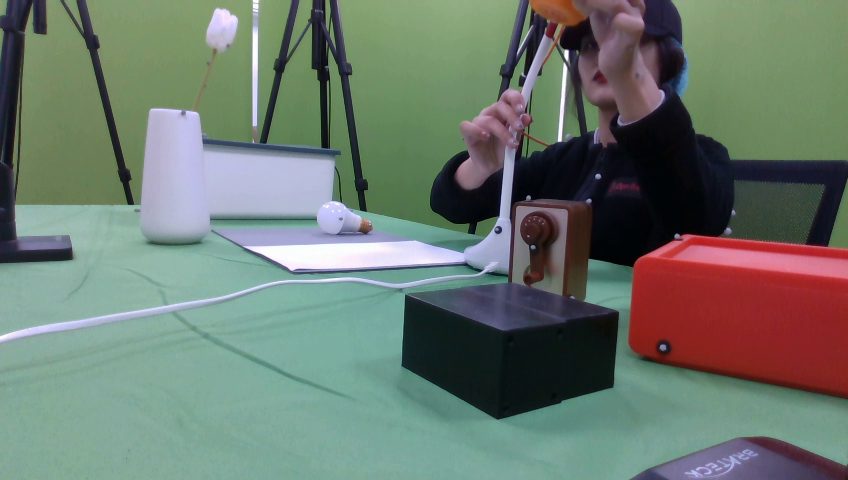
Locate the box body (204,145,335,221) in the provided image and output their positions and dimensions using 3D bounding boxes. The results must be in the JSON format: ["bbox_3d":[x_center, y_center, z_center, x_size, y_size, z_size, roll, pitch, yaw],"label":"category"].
[{"bbox_3d":[-0.411,-0.135,1.386,0.366,0.160,0.253,-2,9,-29],"label":"box body"}]

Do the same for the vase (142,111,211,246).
[{"bbox_3d":[-0.378,-0.093,0.920,0.098,0.200,0.098,2,9,0],"label":"vase"}]

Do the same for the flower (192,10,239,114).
[{"bbox_3d":[-0.353,-0.174,0.916,0.038,0.361,0.044,17,-3,12],"label":"flower"}]

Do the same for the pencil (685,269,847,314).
[{"bbox_3d":[0.308,0.045,0.516,0.194,0.012,0.012,13,5,-11],"label":"pencil"}]

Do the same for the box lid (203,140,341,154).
[{"bbox_3d":[-0.396,-0.212,1.373,0.373,0.015,0.262,-1,9,-29],"label":"box lid"}]

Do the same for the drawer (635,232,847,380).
[{"bbox_3d":[0.292,0.045,0.488,0.193,0.073,0.213,7,10,30],"label":"drawer"}]

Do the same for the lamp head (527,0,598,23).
[{"bbox_3d":[0.157,-0.297,0.645,0.112,0.123,0.112,20,12,-4],"label":"lamp head"}]

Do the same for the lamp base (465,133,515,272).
[{"bbox_3d":[0.134,-0.052,0.809,0.160,0.180,0.180,7,11,26],"label":"lamp base"}]

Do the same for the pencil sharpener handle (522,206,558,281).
[{"bbox_3d":[0.102,0.003,0.555,0.036,0.067,0.031,0,5,31],"label":"pencil sharpener handle"}]

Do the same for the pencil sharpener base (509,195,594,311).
[{"bbox_3d":[0.126,0.011,0.602,0.061,0.107,0.077,7,9,30],"label":"pencil sharpener base"}]

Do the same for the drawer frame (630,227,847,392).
[{"bbox_3d":[0.292,0.043,0.485,0.201,0.082,0.214,7,9,29],"label":"drawer frame"}]

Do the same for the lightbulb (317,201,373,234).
[{"bbox_3d":[-0.143,-0.036,1.109,0.108,0.059,0.059,16,0,-28],"label":"lightbulb"}]
